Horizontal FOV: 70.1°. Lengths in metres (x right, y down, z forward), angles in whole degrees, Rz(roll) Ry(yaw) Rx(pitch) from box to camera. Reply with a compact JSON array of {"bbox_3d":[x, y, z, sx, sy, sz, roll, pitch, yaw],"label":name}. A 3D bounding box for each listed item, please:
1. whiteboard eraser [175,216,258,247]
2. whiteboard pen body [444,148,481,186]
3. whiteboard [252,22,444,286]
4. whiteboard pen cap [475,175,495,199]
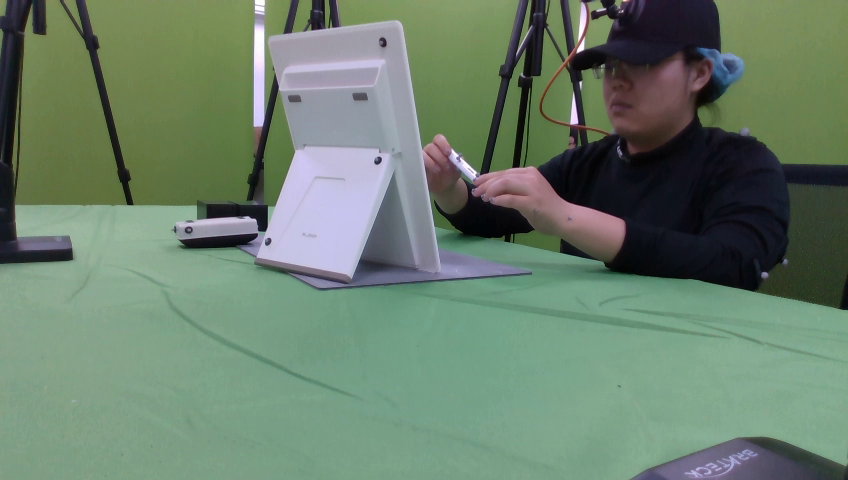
[{"bbox_3d":[-0.313,-0.012,0.914,0.113,0.042,0.055,-5,12,-30],"label":"whiteboard eraser"},{"bbox_3d":[0.063,-0.108,0.918,0.017,0.017,0.140,-1,30,-25],"label":"whiteboard pen body"},{"bbox_3d":[-0.125,-0.081,0.714,0.216,0.305,0.144,9,29,36],"label":"whiteboard"},{"bbox_3d":[0.088,-0.075,0.871,0.018,0.033,0.018,-27,-7,-4],"label":"whiteboard pen cap"}]
